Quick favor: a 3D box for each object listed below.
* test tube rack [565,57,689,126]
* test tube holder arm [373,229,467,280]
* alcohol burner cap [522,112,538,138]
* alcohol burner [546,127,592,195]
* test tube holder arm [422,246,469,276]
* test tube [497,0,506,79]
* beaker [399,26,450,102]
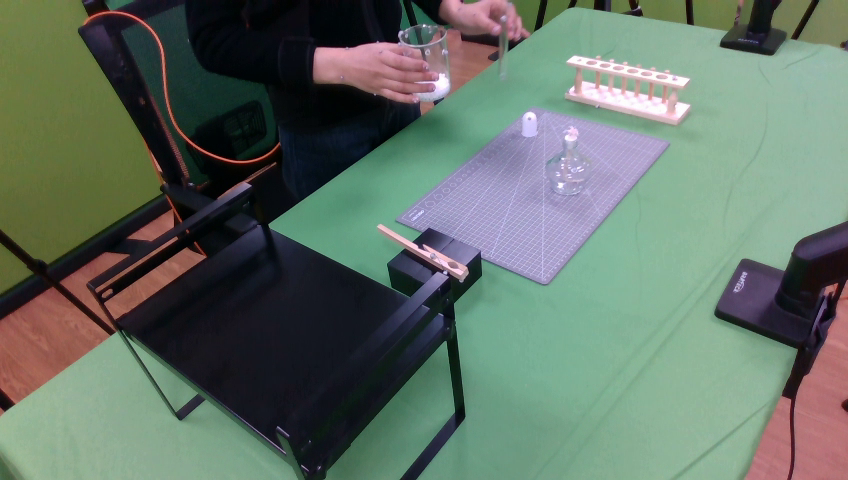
[{"bbox_3d":[0.411,-0.311,1.230,0.240,0.085,0.067,23,49,32],"label":"test tube rack"},{"bbox_3d":[-0.010,0.019,0.885,0.177,0.015,0.013,23,48,33],"label":"test tube holder arm"},{"bbox_3d":[0.210,-0.230,1.195,0.034,0.048,0.033,-5,41,5],"label":"alcohol burner cap"},{"bbox_3d":[0.247,-0.137,1.024,0.078,0.119,0.077,-4,39,4],"label":"alcohol burner"},{"bbox_3d":[0.028,0.031,0.864,0.087,0.015,0.010,25,49,34],"label":"test tube holder arm"},{"bbox_3d":[0.142,-0.368,1.111,0.017,0.151,0.017,-3,39,3],"label":"test tube"},{"bbox_3d":[0.004,-0.283,0.974,0.074,0.101,0.084,6,45,15],"label":"beaker"}]
